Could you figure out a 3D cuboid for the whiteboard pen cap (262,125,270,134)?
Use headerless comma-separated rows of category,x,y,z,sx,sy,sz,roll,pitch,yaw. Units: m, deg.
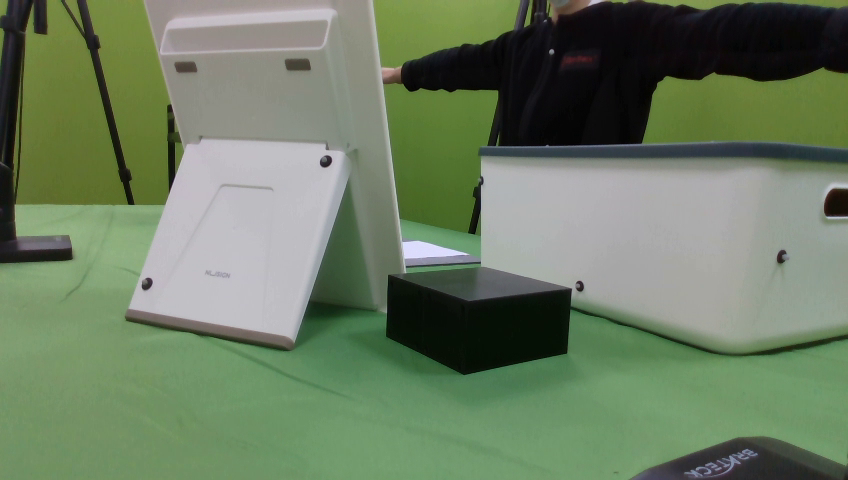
whiteboard pen cap,-0.349,-0.244,1.337,0.018,0.018,0.033,0,2,-17

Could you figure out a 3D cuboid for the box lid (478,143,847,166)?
box lid,0.256,-0.084,0.628,0.265,0.015,0.369,-2,8,-29

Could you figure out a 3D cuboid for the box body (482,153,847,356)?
box body,0.252,-0.011,0.639,0.255,0.160,0.362,-1,8,-30

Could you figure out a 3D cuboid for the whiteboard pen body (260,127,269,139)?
whiteboard pen body,-0.366,-0.247,1.392,0.017,0.017,0.140,0,3,-17

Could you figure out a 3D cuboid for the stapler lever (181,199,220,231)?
stapler lever,-0.346,-0.040,0.942,0.027,0.040,0.118,2,8,-3

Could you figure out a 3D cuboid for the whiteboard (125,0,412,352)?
whiteboard,-0.151,-0.049,0.472,0.216,0.305,0.144,6,27,24

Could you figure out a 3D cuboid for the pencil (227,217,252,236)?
pencil,-0.333,-0.024,1.092,0.012,0.012,0.193,2,10,-5

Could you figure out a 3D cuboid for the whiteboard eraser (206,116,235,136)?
whiteboard eraser,-0.450,-0.252,1.335,0.056,0.042,0.112,1,7,-22

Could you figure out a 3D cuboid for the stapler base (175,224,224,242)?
stapler base,-0.348,-0.014,0.947,0.041,0.024,0.130,2,7,-3
